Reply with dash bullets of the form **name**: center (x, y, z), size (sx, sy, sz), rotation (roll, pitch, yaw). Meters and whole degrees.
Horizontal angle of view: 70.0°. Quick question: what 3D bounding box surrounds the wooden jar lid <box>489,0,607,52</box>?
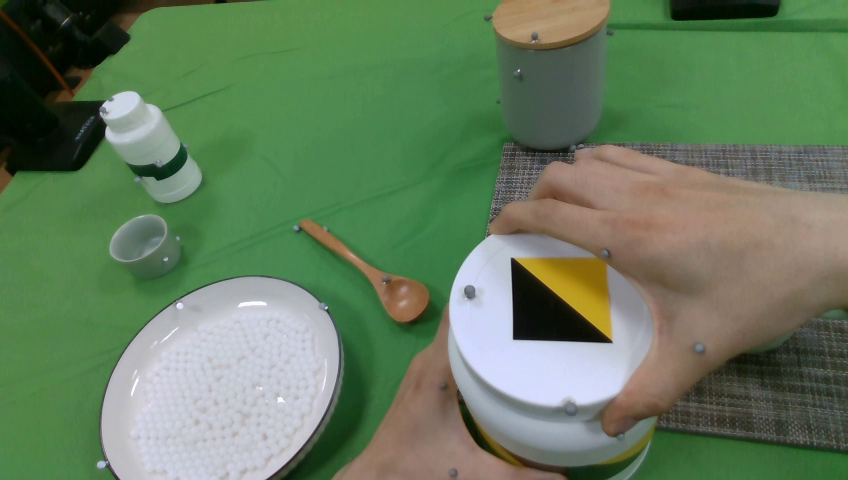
- **wooden jar lid**: center (0.116, -0.205, 0.571), size (0.108, 0.021, 0.107), rotation (-8, 49, 10)

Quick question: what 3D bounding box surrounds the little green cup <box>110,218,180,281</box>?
- **little green cup**: center (-0.288, 0.011, 0.631), size (0.061, 0.039, 0.061), rotation (-6, 50, 8)

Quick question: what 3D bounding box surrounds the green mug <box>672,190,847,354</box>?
- **green mug**: center (0.256, 0.029, 0.450), size (0.124, 0.106, 0.092), rotation (12, 55, 20)

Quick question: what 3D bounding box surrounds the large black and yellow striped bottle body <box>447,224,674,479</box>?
- **large black and yellow striped bottle body**: center (0.087, 0.084, 0.393), size (0.130, 0.186, 0.129), rotation (-6, 56, 9)

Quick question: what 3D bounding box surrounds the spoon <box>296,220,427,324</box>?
- **spoon**: center (-0.067, 0.023, 0.584), size (0.192, 0.022, 0.041), rotation (34, 83, 32)

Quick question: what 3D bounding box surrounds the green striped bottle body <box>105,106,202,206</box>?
- **green striped bottle body**: center (-0.301, -0.098, 0.667), size (0.063, 0.120, 0.062), rotation (-6, 51, 8)

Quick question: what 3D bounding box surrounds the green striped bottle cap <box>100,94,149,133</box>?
- **green striped bottle cap**: center (-0.310, -0.131, 0.628), size (0.044, 0.020, 0.044), rotation (-4, 54, 6)

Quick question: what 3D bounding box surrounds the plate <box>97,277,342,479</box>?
- **plate**: center (-0.167, 0.126, 0.516), size (0.209, 0.038, 0.207), rotation (-6, 51, 8)

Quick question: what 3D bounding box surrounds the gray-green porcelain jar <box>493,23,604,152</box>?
- **gray-green porcelain jar**: center (0.127, -0.163, 0.617), size (0.106, 0.128, 0.105), rotation (-6, 48, 7)

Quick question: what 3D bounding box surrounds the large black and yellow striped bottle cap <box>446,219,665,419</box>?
- **large black and yellow striped bottle cap**: center (0.068, 0.038, 0.326), size (0.115, 0.019, 0.114), rotation (-5, 55, 8)
